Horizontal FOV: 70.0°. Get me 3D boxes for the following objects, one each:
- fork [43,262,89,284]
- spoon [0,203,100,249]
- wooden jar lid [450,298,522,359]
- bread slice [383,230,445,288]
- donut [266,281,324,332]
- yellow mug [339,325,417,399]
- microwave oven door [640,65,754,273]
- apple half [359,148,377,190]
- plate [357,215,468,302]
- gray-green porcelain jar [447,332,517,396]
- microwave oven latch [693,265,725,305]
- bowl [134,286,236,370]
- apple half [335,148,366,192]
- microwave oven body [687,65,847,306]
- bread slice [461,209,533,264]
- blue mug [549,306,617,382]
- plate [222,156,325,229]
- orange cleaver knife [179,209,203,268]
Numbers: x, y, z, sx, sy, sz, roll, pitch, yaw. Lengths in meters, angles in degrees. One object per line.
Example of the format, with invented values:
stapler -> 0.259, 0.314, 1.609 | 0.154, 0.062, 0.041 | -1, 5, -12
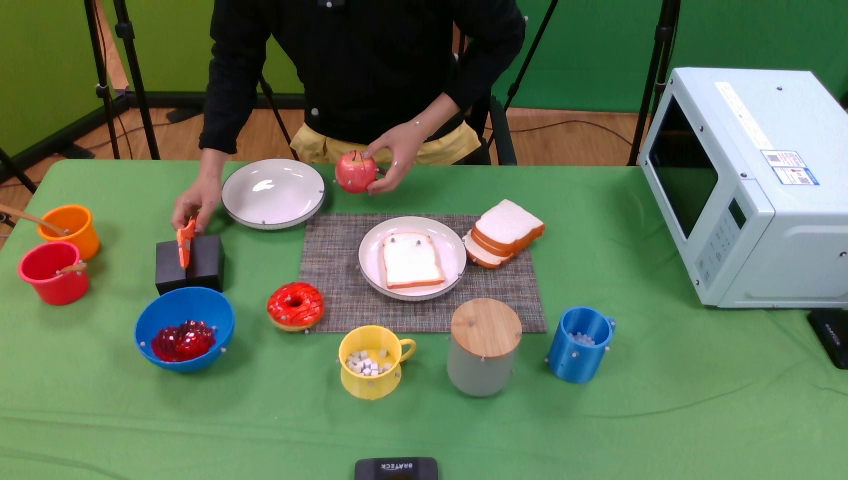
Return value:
fork -> -0.599, 0.053, 1.013 | 0.207, 0.019, 0.028 | -14, 30, 45
spoon -> -0.683, -0.031, 1.088 | 0.195, 0.021, 0.041 | 33, 33, -38
wooden jar lid -> 0.093, 0.135, 0.914 | 0.108, 0.021, 0.107 | 3, 48, -3
bread slice -> -0.028, 0.035, 1.144 | 0.107, 0.018, 0.133 | -7, 48, -12
donut -> -0.222, 0.115, 1.049 | 0.099, 0.048, 0.098 | 2, 45, -2
yellow mug -> -0.072, 0.190, 0.978 | 0.131, 0.064, 0.099 | -17, 50, -20
microwave oven door -> 0.522, -0.147, 1.193 | 0.039, 0.245, 0.353 | 0, 47, -3
apple half -> -0.108, -0.138, 1.181 | 0.033, 0.081, 0.080 | -8, 48, -15
plate -> -0.022, 0.037, 1.141 | 0.208, 0.039, 0.206 | 2, 46, -2
gray-green porcelain jar -> 0.090, 0.178, 0.960 | 0.106, 0.127, 0.105 | 2, 46, -2
microwave oven latch -> 0.522, 0.081, 1.115 | 0.030, 0.029, 0.078 | 2, 46, -1
bowl -> -0.377, 0.155, 0.981 | 0.151, 0.077, 0.150 | 2, 46, -2
apple half -> -0.145, -0.133, 1.171 | 0.053, 0.075, 0.080 | -10, 53, -13
microwave oven body -> 0.669, -0.111, 1.176 | 0.326, 0.261, 0.439 | 0, 46, -3
bread slice -> 0.135, -0.004, 1.192 | 0.104, 0.019, 0.131 | 30, 51, 27
blue mug -> 0.269, 0.166, 0.998 | 0.116, 0.106, 0.082 | -19, 51, -21
plate -> -0.308, -0.095, 1.251 | 0.209, 0.038, 0.208 | 3, 47, -3
orange cleaver knife -> -0.431, -0.006, 1.127 | 0.012, 0.077, 0.210 | -5, 17, -9
